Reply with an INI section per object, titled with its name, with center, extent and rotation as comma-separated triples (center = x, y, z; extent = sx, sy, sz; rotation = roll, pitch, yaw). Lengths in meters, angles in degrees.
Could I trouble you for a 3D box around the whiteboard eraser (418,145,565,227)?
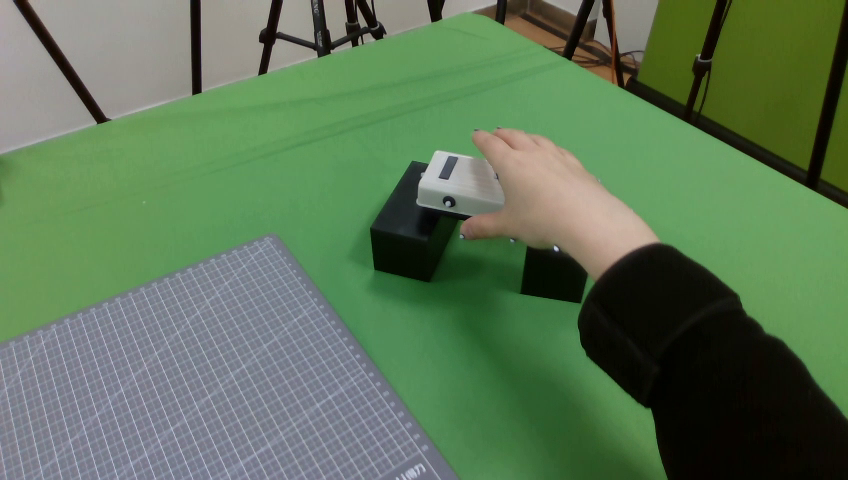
[whiteboard eraser]
center = 0.056, -0.042, 0.493
extent = 0.112, 0.042, 0.055
rotation = 11, 44, 12
